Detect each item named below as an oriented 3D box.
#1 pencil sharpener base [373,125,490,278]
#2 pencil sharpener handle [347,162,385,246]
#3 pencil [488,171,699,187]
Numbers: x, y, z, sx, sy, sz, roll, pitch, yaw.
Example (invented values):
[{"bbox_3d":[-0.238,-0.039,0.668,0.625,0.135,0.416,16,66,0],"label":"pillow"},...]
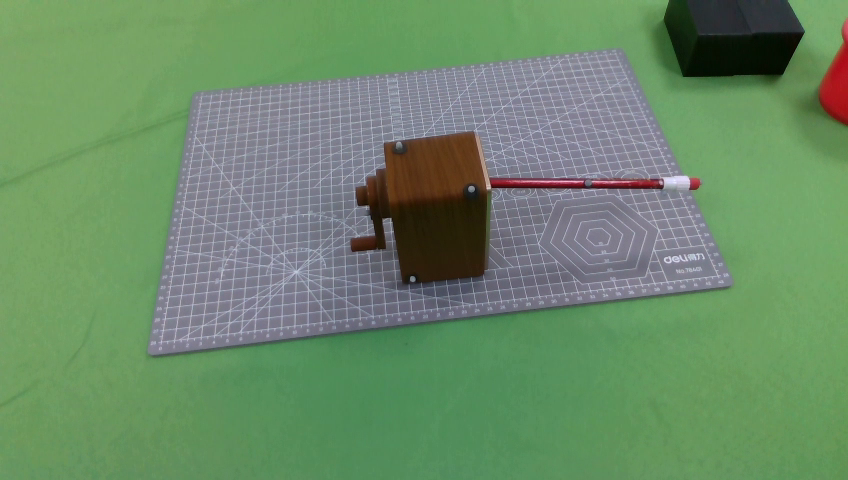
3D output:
[{"bbox_3d":[0.006,-0.025,0.454,0.077,0.108,0.060,-7,55,-1],"label":"pencil sharpener base"},{"bbox_3d":[-0.045,-0.023,0.439,0.030,0.068,0.035,-7,40,-1],"label":"pencil sharpener handle"},{"bbox_3d":[0.107,-0.045,0.441,0.194,0.012,0.012,0,54,-7],"label":"pencil"}]
